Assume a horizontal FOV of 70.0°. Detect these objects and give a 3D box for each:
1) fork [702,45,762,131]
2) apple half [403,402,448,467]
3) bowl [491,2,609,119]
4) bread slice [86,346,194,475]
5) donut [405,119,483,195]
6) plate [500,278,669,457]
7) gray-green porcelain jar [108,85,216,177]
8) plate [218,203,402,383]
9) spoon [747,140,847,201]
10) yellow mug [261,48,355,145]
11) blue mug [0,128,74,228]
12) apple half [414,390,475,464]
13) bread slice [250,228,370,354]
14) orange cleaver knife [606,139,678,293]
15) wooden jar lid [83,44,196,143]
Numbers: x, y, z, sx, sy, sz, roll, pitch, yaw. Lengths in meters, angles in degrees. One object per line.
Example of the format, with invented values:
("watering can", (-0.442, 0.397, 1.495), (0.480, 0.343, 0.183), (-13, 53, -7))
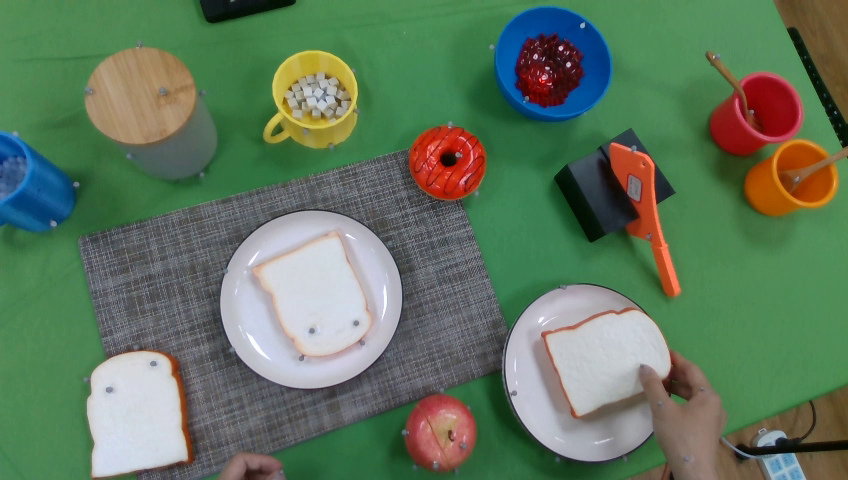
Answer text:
("fork", (0.398, -0.191, 0.776), (0.209, 0.018, 0.028), (26, 70, -44))
("apple half", (-0.006, 0.222, 0.674), (0.033, 0.081, 0.081), (-25, 82, -16))
("bowl", (0.153, -0.218, 0.785), (0.152, 0.077, 0.150), (1, 79, -7))
("bread slice", (-0.318, 0.184, 0.667), (0.105, 0.019, 0.131), (-10, 81, -10))
("donut", (0.026, -0.103, 0.758), (0.099, 0.048, 0.098), (2, 79, -7))
("plate", (0.191, 0.151, 0.734), (0.209, 0.038, 0.208), (2, 78, -7))
("gray-green porcelain jar", (-0.297, -0.134, 0.684), (0.106, 0.127, 0.105), (2, 77, -7))
("plate", (-0.130, 0.061, 0.707), (0.208, 0.039, 0.206), (2, 78, -7))
("spoon", (0.512, -0.106, 0.773), (0.022, 0.193, 0.041), (-12, 74, -56))
("yellow mug", (-0.146, -0.165, 0.741), (0.131, 0.064, 0.100), (-41, 86, -13))
("blue mug", (-0.459, -0.054, 0.656), (0.116, 0.106, 0.082), (-44, 86, -13))
("apple half", (0.028, 0.204, 0.684), (0.053, 0.075, 0.080), (-26, 80, -16))
("bread slice", (-0.124, 0.064, 0.709), (0.107, 0.018, 0.134), (-29, 82, -12))
("orange cleaver knife", (0.273, -0.028, 0.759), (0.012, 0.076, 0.213), (-30, 113, -18))
("wooden jar lid", (-0.290, -0.148, 0.624), (0.108, 0.021, 0.108), (2, 76, -6))
